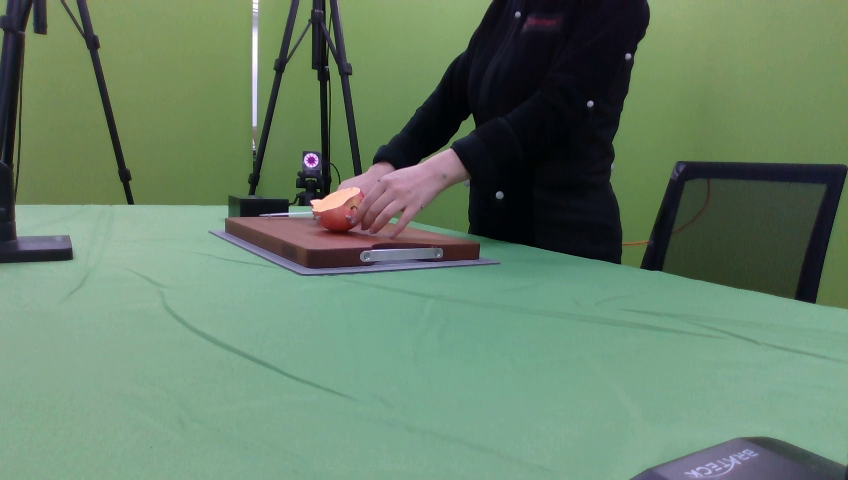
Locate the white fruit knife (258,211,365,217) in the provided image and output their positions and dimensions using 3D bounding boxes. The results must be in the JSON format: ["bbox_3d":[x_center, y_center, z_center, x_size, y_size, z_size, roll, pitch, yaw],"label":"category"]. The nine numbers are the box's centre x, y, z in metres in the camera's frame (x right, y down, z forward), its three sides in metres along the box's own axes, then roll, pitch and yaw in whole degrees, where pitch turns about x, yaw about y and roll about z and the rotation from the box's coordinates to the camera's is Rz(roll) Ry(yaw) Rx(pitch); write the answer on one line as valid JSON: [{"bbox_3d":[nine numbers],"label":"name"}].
[{"bbox_3d":[-0.200,-0.051,1.108,0.208,0.016,0.027,-6,9,-29],"label":"white fruit knife"}]

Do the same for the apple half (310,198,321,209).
[{"bbox_3d":[-0.160,-0.043,1.036,0.081,0.033,0.081,16,14,-4],"label":"apple half"}]

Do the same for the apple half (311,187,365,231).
[{"bbox_3d":[-0.128,-0.042,0.930,0.074,0.053,0.081,-1,32,38],"label":"apple half"}]
